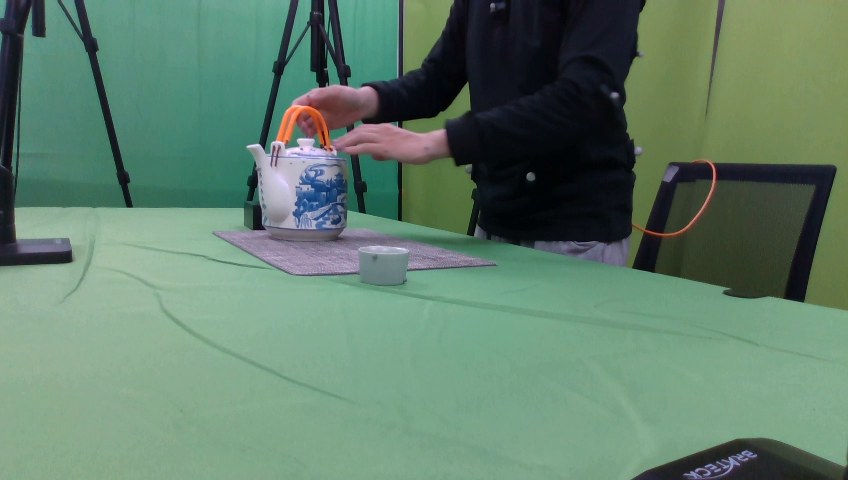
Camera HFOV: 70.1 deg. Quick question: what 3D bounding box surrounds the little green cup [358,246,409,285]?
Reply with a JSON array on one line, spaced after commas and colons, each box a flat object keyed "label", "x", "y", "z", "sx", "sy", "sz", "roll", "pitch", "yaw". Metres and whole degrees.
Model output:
[{"label": "little green cup", "x": -0.048, "y": 0.030, "z": 0.707, "sx": 0.061, "sy": 0.038, "sz": 0.061, "roll": 2, "pitch": 8, "yaw": 0}]

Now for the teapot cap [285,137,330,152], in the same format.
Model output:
[{"label": "teapot cap", "x": -0.204, "y": -0.155, "z": 1.041, "sx": 0.085, "sy": 0.044, "sz": 0.085, "roll": -2, "pitch": 8, "yaw": 1}]

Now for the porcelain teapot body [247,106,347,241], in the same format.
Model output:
[{"label": "porcelain teapot body", "x": -0.219, "y": -0.113, "z": 1.020, "sx": 0.144, "sy": 0.225, "sz": 0.206, "roll": 7, "pitch": 9, "yaw": 26}]
